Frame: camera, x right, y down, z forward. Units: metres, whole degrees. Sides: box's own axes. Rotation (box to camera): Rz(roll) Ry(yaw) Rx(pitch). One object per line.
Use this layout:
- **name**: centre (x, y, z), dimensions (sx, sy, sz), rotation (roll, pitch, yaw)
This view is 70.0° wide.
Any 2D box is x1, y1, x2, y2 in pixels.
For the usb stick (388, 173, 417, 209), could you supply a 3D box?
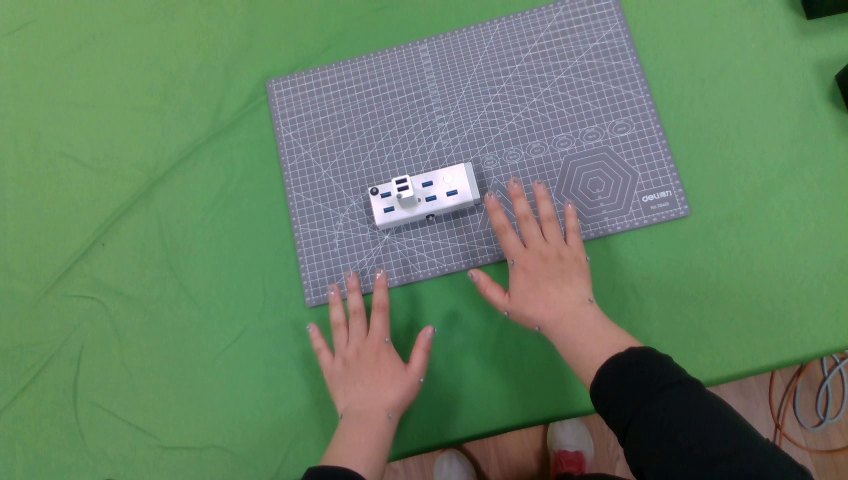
- **usb stick**: centre (-0.023, -0.052, 0.677), dimensions (0.021, 0.059, 0.027), rotation (-18, 73, 3)

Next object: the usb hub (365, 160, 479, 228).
- **usb hub**: centre (-0.003, -0.054, 0.704), dimensions (0.125, 0.025, 0.049), rotation (-14, 76, 4)
